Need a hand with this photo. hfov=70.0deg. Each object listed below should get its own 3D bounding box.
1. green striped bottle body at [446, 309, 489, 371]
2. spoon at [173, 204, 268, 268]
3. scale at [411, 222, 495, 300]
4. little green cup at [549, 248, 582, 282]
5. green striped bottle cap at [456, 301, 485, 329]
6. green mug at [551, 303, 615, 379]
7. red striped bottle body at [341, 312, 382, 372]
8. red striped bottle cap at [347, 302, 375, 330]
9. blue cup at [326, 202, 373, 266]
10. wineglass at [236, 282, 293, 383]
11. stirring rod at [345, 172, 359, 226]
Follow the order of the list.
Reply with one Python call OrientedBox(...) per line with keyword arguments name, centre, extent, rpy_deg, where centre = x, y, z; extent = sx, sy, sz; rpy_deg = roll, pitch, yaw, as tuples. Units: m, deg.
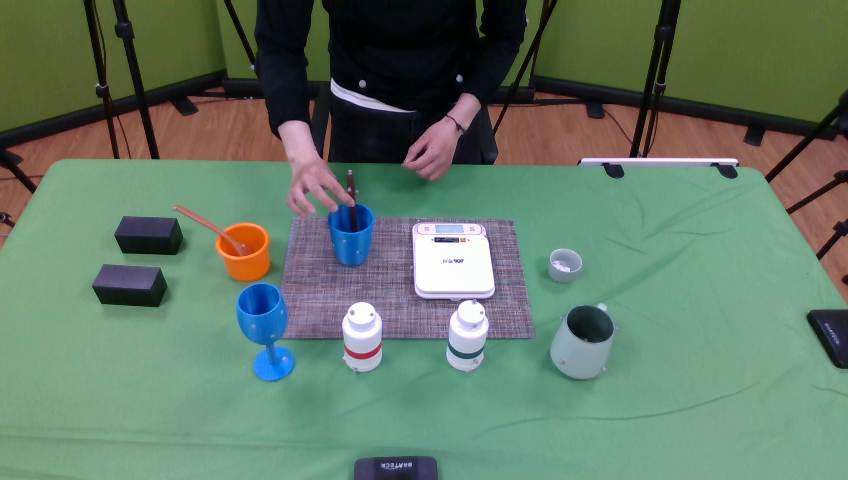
OrientedBox(name="green striped bottle body", centre=(0.070, 0.155, 0.984), extent=(0.063, 0.120, 0.063), rpy_deg=(2, 46, -2))
OrientedBox(name="spoon", centre=(-0.363, -0.008, 1.089), extent=(0.021, 0.195, 0.041), rpy_deg=(-33, 32, 26))
OrientedBox(name="scale", centre=(0.052, 0.031, 1.158), extent=(0.149, 0.032, 0.199), rpy_deg=(1, 46, -4))
OrientedBox(name="little green cup", centre=(0.268, 0.050, 1.156), extent=(0.061, 0.039, 0.061), rpy_deg=(1, 46, -1))
OrientedBox(name="green striped bottle cap", centre=(0.073, 0.116, 0.943), extent=(0.044, 0.020, 0.044), rpy_deg=(3, 46, -3))
OrientedBox(name="green mug", centre=(0.271, 0.157, 1.007), extent=(0.092, 0.105, 0.125), rpy_deg=(27, 50, 21))
OrientedBox(name="red striped bottle body", centre=(-0.100, 0.154, 0.972), extent=(0.063, 0.120, 0.062), rpy_deg=(2, 46, -1))
OrientedBox(name="red striped bottle cap", centre=(-0.098, 0.116, 0.934), extent=(0.044, 0.018, 0.044), rpy_deg=(3, 48, -3))
OrientedBox(name="blue cup", centre=(-0.137, -0.006, 1.131), extent=(0.093, 0.101, 0.092), rpy_deg=(3, 45, -3))
OrientedBox(name="wineglass", centre=(-0.243, 0.143, 0.934), extent=(0.074, 0.173, 0.073), rpy_deg=(2, 46, -2))
OrientedBox(name="stirring rod", centre=(-0.128, -0.054, 1.102), extent=(0.014, 0.177, 0.006), rpy_deg=(-5, 45, -5))
